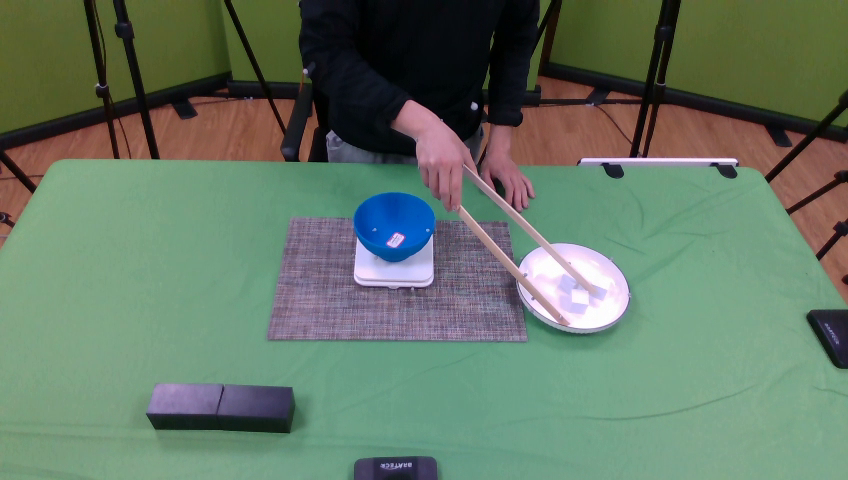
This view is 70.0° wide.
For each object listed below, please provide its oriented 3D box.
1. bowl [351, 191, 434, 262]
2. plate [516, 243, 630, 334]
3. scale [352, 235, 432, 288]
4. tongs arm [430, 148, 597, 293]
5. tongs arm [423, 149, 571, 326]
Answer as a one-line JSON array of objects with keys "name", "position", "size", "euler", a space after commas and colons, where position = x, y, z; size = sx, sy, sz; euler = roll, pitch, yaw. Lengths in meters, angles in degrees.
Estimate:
[{"name": "bowl", "position": [-0.058, -0.013, 1.119], "size": [0.151, 0.077, 0.150], "euler": [2, 46, -1]}, {"name": "plate", "position": [0.272, 0.092, 1.120], "size": [0.208, 0.039, 0.206], "euler": [2, 46, -2]}, {"name": "scale", "position": [-0.060, 0.010, 1.171], "size": [0.149, 0.032, 0.199], "euler": [2, 46, -3]}, {"name": "tongs arm", "position": [0.163, -0.035, 1.086], "size": [0.387, 0.028, 0.028], "euler": [42, 70, -2]}, {"name": "tongs arm", "position": [0.129, -0.003, 1.065], "size": [0.384, 0.026, 0.050], "euler": [46, 67, 0]}]
